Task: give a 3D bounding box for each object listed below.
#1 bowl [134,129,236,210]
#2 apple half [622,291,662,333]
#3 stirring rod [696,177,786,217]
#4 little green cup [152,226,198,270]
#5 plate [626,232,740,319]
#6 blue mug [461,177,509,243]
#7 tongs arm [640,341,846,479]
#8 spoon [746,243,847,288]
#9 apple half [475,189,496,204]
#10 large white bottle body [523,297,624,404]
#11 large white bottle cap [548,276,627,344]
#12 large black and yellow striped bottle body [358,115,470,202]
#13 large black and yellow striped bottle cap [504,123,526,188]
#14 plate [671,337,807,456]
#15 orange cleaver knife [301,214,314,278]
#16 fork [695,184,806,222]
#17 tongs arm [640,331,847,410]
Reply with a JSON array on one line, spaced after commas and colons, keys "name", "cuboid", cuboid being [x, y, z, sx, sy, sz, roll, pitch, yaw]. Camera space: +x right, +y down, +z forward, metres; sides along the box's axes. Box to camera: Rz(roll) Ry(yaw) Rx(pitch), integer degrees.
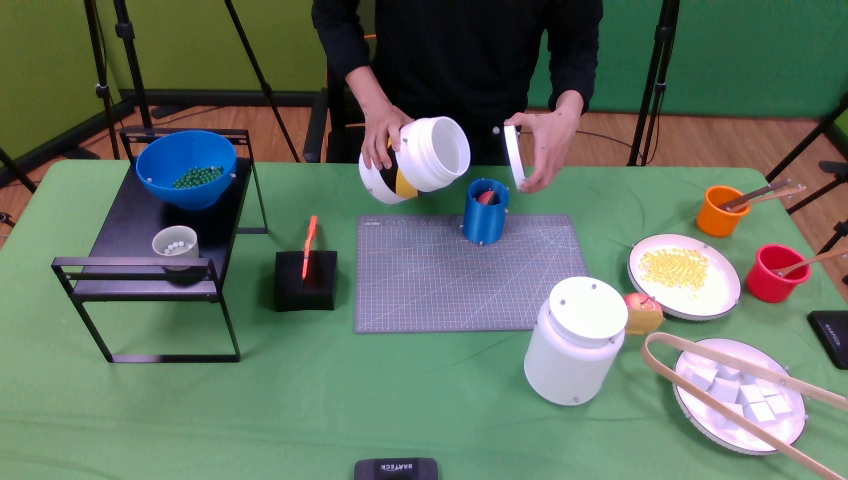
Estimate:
[{"name": "bowl", "cuboid": [-0.375, -0.102, 0.977, 0.151, 0.077, 0.150, 2, 47, -2]}, {"name": "apple half", "cuboid": [0.372, 0.124, 1.073, 0.081, 0.075, 0.053, 0, 42, 1]}, {"name": "stirring rod", "cuboid": [0.648, -0.087, 1.244, 0.176, 0.006, 0.014, -25, 50, 29]}, {"name": "little green cup", "cuboid": [-0.364, 0.013, 0.894, 0.061, 0.039, 0.061, 3, 47, -3]}, {"name": "plate", "cuboid": [0.489, 0.070, 1.157, 0.209, 0.038, 0.208, 3, 46, -3]}, {"name": "blue mug", "cuboid": [0.114, -0.070, 1.210, 0.082, 0.106, 0.115, -12, 48, -15]}, {"name": "tongs arm", "cuboid": [0.500, 0.278, 0.920, 0.386, 0.028, 0.028, 34, 60, 22]}, {"name": "spoon", "cuboid": [0.702, 0.044, 1.126, 0.194, 0.022, 0.041, -29, 38, 30]}, {"name": "apple half", "cuboid": [0.110, -0.067, 1.200, 0.033, 0.081, 0.081, 28, 50, 11]}, {"name": "large white bottle body", "cuboid": [0.235, 0.159, 0.952, 0.131, 0.185, 0.130, 2, 47, -2]}, {"name": "large white bottle cap", "cuboid": [0.240, 0.100, 0.890, 0.115, 0.018, 0.114, 3, 47, -3]}, {"name": "large black and yellow striped bottle body", "cuboid": [-0.018, -0.152, 1.126, 0.183, 0.131, 0.130, -14, 31, 41]}, {"name": "large black and yellow striped bottle cap", "cuboid": [0.161, -0.148, 1.064, 0.019, 0.115, 0.114, -11, 46, 8]}, {"name": "plate", "cuboid": [0.504, 0.254, 0.984, 0.208, 0.039, 0.206, 2, 46, -2]}, {"name": "orange cleaver knife", "cuboid": [-0.218, 0.008, 1.131, 0.012, 0.077, 0.210, 7, 19, -9]}, {"name": "fork", "cuboid": [0.658, -0.074, 1.230, 0.207, 0.019, 0.028, -24, 33, 36]}, {"name": "tongs arm", "cuboid": [0.543, 0.226, 0.969, 0.384, 0.026, 0.050, 22, 53, 13]}]
